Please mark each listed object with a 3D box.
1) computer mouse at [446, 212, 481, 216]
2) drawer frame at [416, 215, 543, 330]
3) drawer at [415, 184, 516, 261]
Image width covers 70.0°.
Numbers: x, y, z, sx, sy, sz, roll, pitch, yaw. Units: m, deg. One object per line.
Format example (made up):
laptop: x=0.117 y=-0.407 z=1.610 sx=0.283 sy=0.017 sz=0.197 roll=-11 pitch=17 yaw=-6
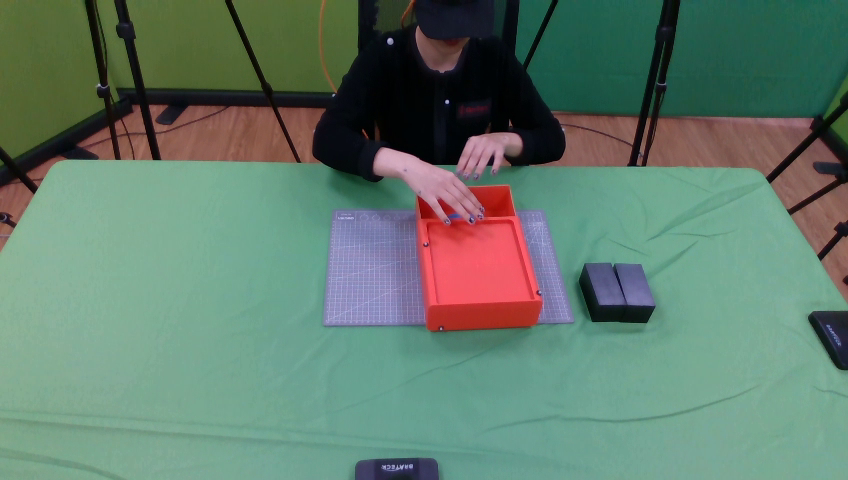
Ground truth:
computer mouse: x=0.093 y=-0.024 z=1.204 sx=0.117 sy=0.041 sz=0.062 roll=4 pitch=42 yaw=-7
drawer frame: x=0.094 y=0.054 z=1.108 sx=0.202 sy=0.083 sz=0.212 roll=-2 pitch=47 yaw=-7
drawer: x=0.086 y=-0.015 z=1.175 sx=0.195 sy=0.073 sz=0.210 roll=-1 pitch=46 yaw=-6
